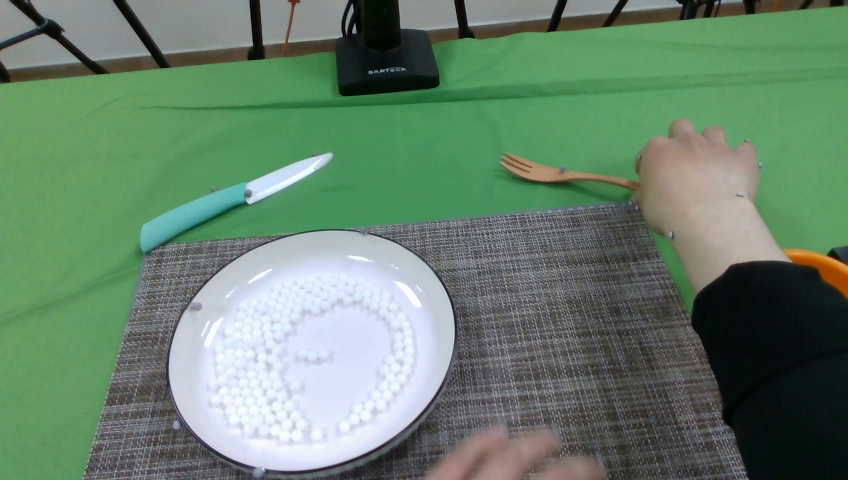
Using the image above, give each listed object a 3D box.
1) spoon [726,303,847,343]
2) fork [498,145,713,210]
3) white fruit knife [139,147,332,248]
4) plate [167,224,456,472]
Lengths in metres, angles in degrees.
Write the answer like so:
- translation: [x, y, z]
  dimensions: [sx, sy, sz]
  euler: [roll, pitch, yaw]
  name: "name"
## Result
- translation: [0.288, 0.054, 0.389]
  dimensions: [0.041, 0.193, 0.022]
  euler: [-38, 102, -27]
  name: "spoon"
- translation: [0.171, -0.059, 0.583]
  dimensions: [0.206, 0.019, 0.028]
  euler: [15, 46, 17]
  name: "fork"
- translation: [-0.177, -0.049, 0.588]
  dimensions: [0.207, 0.016, 0.027]
  euler: [-29, 77, -27]
  name: "white fruit knife"
- translation: [-0.079, 0.074, 0.453]
  dimensions: [0.209, 0.038, 0.207]
  euler: [-1, 47, 1]
  name: "plate"
